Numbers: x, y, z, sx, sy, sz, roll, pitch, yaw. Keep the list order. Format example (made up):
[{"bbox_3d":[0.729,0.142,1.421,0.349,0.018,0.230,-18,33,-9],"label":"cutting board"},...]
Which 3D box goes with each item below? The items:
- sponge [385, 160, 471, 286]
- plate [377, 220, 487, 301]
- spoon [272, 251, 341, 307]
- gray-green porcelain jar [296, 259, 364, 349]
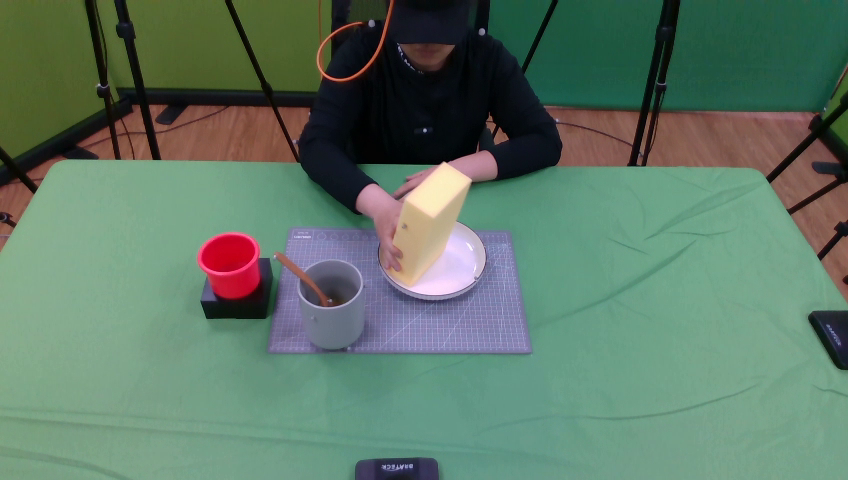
[{"bbox_3d":[0.003,-0.025,1.068,0.061,0.207,0.118,34,52,12],"label":"sponge"},{"bbox_3d":[0.015,0.037,1.147,0.208,0.039,0.206,2,46,-2],"label":"plate"},{"bbox_3d":[-0.181,0.077,0.982,0.021,0.195,0.041,-8,46,28],"label":"spoon"},{"bbox_3d":[-0.152,0.111,1.003,0.106,0.127,0.105,2,46,-2],"label":"gray-green porcelain jar"}]
